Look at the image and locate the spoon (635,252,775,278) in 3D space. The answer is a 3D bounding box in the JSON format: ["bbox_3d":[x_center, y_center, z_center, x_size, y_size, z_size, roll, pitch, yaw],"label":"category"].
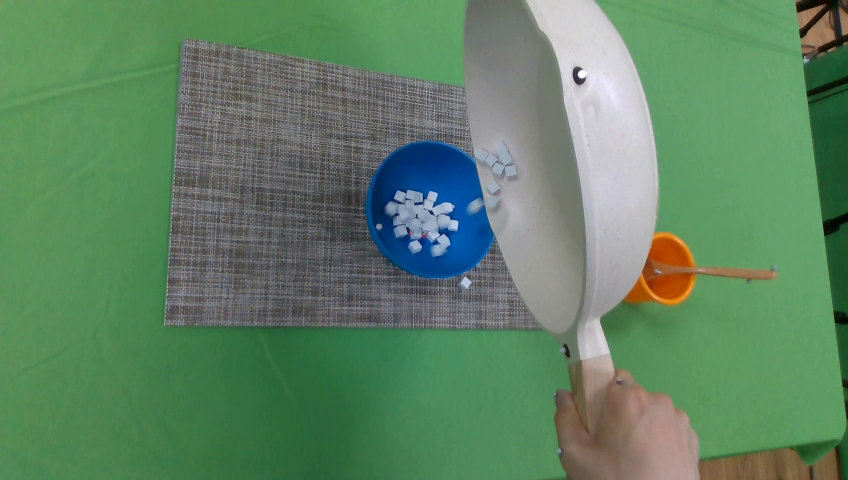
[{"bbox_3d":[0.336,0.034,0.769,0.022,0.193,0.041,33,62,-62],"label":"spoon"}]

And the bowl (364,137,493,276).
[{"bbox_3d":[-0.002,-0.031,0.673,0.152,0.076,0.151,4,81,-21],"label":"bowl"}]

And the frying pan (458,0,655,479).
[{"bbox_3d":[0.109,0.028,0.467,0.103,0.308,0.485,-6,77,-2],"label":"frying pan"}]
